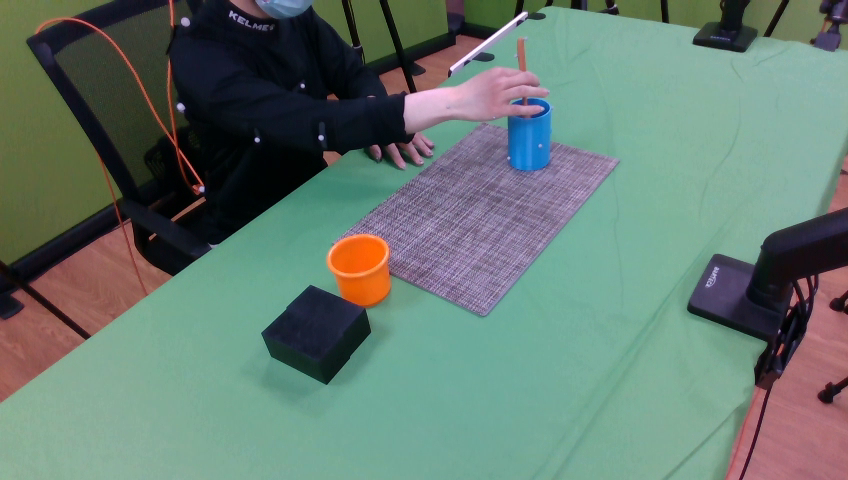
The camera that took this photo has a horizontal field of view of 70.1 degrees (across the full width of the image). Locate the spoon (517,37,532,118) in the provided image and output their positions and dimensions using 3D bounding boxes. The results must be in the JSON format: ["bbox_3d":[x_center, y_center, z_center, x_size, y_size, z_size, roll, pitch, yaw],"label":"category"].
[{"bbox_3d":[0.176,-0.258,1.063,0.041,0.194,0.022,6,30,29],"label":"spoon"}]

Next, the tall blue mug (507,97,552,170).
[{"bbox_3d":[0.179,-0.198,1.101,0.078,0.108,0.106,-36,49,-28],"label":"tall blue mug"}]
